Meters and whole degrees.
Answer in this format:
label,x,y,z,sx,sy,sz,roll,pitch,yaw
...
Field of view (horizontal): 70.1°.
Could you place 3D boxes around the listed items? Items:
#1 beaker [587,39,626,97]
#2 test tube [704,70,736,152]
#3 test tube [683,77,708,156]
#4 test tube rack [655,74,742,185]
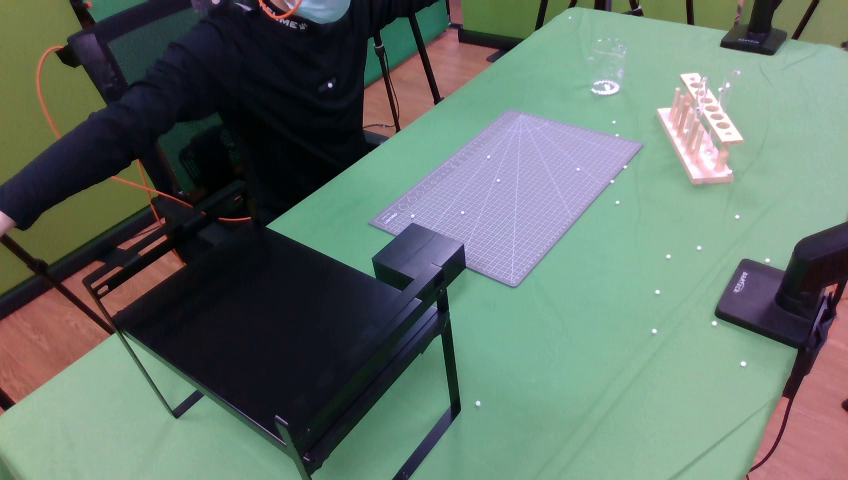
label,x,y,z,sx,sy,sz,roll,pitch,yaw
beaker,0.386,-0.361,1.280,0.074,0.101,0.083,-22,43,-15
test tube,0.501,-0.216,1.028,0.017,0.151,0.017,-2,40,2
test tube,0.463,-0.209,1.032,0.017,0.151,0.017,-4,43,4
test tube rack,0.488,-0.205,1.093,0.067,0.085,0.241,-3,41,5
